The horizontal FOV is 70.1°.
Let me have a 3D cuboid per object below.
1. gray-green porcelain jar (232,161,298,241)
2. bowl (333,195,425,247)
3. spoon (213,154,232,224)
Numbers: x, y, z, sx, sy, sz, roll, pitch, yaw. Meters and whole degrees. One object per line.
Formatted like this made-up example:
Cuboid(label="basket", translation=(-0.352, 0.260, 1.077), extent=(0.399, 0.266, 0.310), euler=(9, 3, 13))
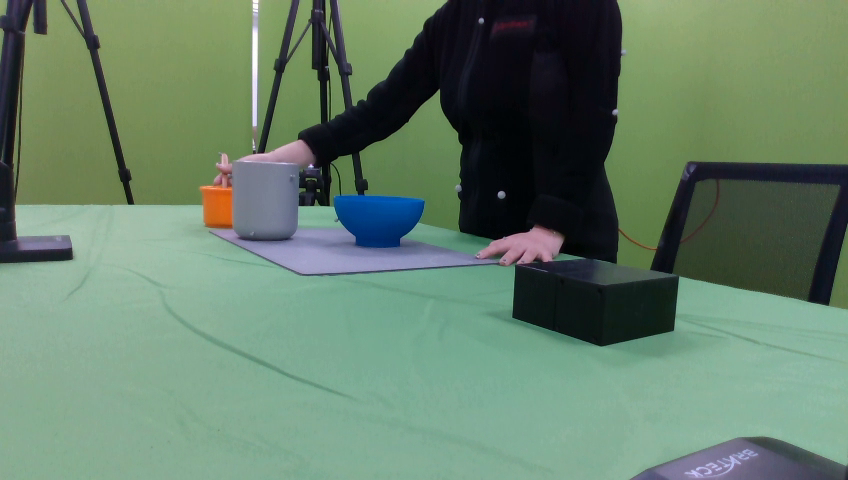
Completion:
Cuboid(label="gray-green porcelain jar", translation=(-0.262, -0.065, 0.999), extent=(0.106, 0.126, 0.106), euler=(3, 7, 0))
Cuboid(label="bowl", translation=(-0.074, -0.031, 0.987), extent=(0.151, 0.077, 0.151), euler=(2, 7, 0))
Cuboid(label="spoon", translation=(-0.392, -0.104, 1.193), extent=(0.042, 0.193, 0.021), euler=(2, -37, -19))
